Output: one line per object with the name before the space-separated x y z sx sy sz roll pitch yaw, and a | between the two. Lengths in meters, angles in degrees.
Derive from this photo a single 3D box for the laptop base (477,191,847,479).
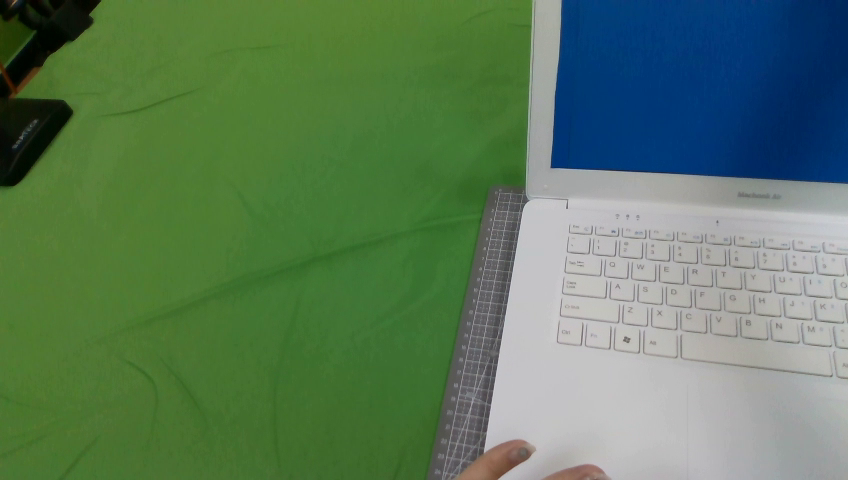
laptop base | 0.226 0.075 0.403 0.353 0.023 0.234 5 59 14

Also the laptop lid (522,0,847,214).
laptop lid | 0.247 -0.123 0.410 0.355 0.243 0.013 4 28 15
